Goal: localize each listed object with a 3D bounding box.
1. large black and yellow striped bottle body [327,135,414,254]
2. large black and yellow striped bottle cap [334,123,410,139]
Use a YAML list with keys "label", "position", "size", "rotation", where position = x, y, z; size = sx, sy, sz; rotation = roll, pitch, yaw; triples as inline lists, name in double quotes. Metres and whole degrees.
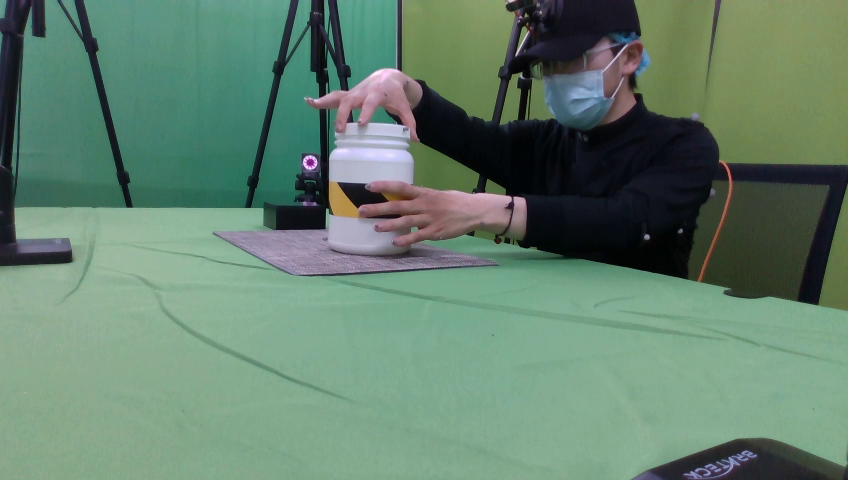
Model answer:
- label: "large black and yellow striped bottle body"
  position: [-0.081, -0.076, 0.928]
  size: [0.131, 0.184, 0.130]
  rotation: [2, 7, 0]
- label: "large black and yellow striped bottle cap"
  position: [-0.078, -0.164, 0.918]
  size: [0.115, 0.019, 0.115]
  rotation: [1, 6, 0]
